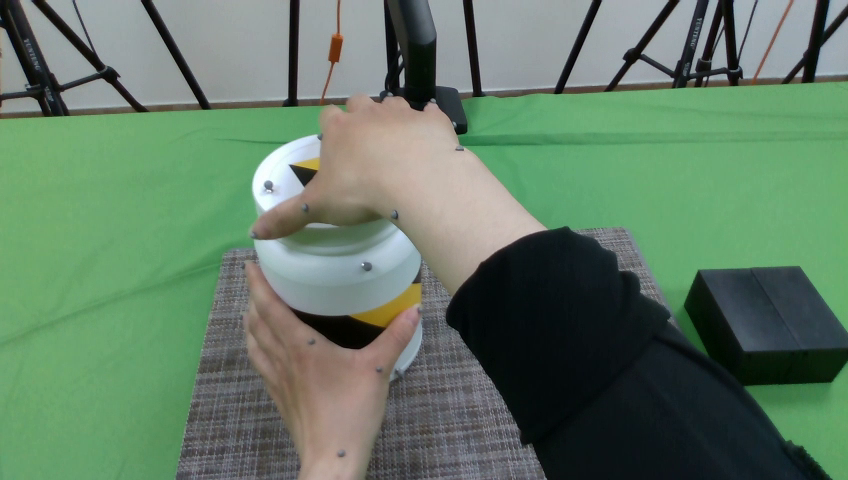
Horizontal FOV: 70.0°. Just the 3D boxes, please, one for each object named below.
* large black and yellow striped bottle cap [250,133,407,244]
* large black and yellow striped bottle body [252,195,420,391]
[{"bbox_3d":[-0.070,-0.042,0.449,0.115,0.019,0.114,1,44,-1],"label":"large black and yellow striped bottle cap"},{"bbox_3d":[-0.069,0.023,0.507,0.131,0.185,0.129,0,42,0],"label":"large black and yellow striped bottle body"}]
